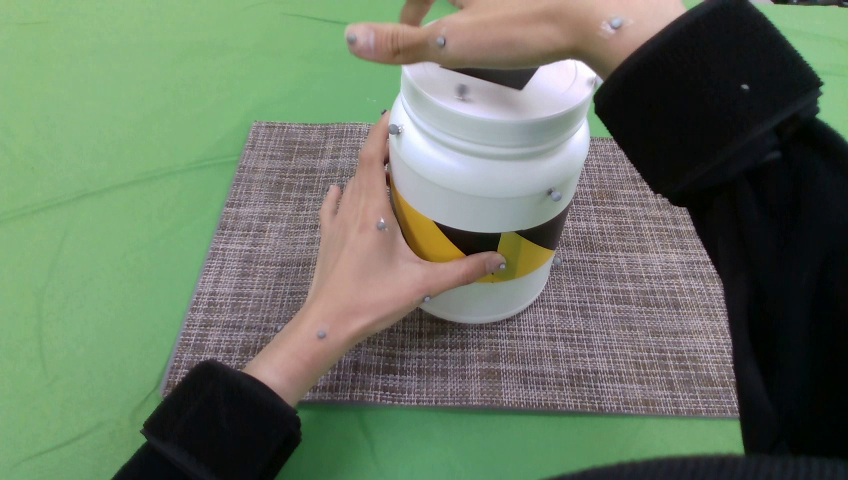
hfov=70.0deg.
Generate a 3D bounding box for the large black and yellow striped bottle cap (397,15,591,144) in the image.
[{"bbox_3d":[0.041,-0.099,0.360,0.115,0.019,0.114,3,47,-3],"label":"large black and yellow striped bottle cap"}]

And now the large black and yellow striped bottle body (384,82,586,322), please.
[{"bbox_3d":[0.037,-0.043,0.425,0.131,0.185,0.129,2,49,-2],"label":"large black and yellow striped bottle body"}]
